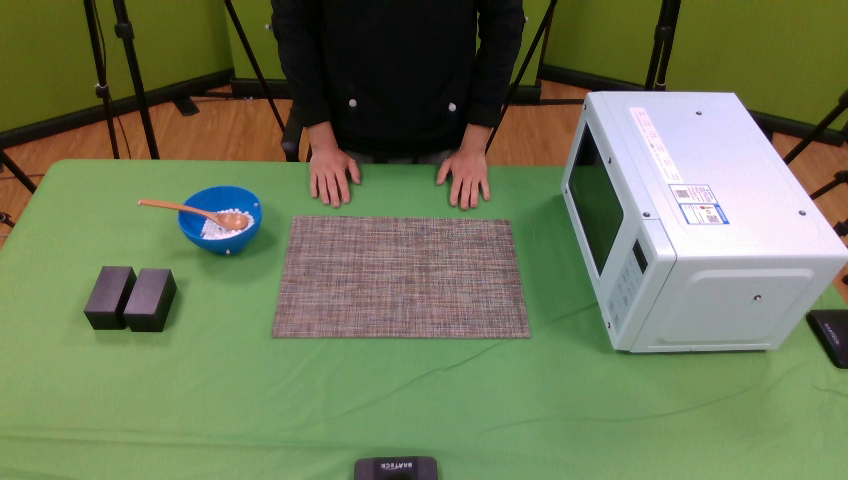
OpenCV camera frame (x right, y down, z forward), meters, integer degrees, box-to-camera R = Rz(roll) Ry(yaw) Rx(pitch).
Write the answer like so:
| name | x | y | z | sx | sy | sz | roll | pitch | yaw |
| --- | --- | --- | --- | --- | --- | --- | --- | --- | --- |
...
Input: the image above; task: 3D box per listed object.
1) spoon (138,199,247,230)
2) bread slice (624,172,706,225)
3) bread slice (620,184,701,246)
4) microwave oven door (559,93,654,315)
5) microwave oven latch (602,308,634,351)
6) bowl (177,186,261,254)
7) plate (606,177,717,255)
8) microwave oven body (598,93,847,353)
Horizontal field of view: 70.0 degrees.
| name | x | y | z | sx | sy | sz | roll | pitch | yaw |
| --- | --- | --- | --- | --- | --- | --- | --- | --- | --- |
| spoon | -0.431 | -0.053 | 1.135 | 0.194 | 0.022 | 0.041 | 15 | 48 | -20 |
| bread slice | 0.461 | -0.079 | 1.139 | 0.131 | 0.019 | 0.105 | 35 | 51 | 30 |
| bread slice | 0.462 | -0.045 | 1.169 | 0.134 | 0.018 | 0.107 | 32 | 59 | 20 |
| microwave oven door | 0.327 | -0.074 | 1.123 | 0.039 | 0.245 | 0.353 | -1 | 46 | -5 |
| microwave oven latch | 0.332 | 0.153 | 1.044 | 0.030 | 0.029 | 0.078 | -1 | 45 | -4 |
| bowl | -0.383 | -0.026 | 1.158 | 0.151 | 0.077 | 0.150 | 2 | 46 | -2 |
| plate | 0.456 | -0.043 | 1.180 | 0.208 | 0.039 | 0.206 | 1 | 46 | 0 |
| microwave oven body | 0.475 | -0.041 | 1.109 | 0.326 | 0.261 | 0.438 | -1 | 45 | -4 |
